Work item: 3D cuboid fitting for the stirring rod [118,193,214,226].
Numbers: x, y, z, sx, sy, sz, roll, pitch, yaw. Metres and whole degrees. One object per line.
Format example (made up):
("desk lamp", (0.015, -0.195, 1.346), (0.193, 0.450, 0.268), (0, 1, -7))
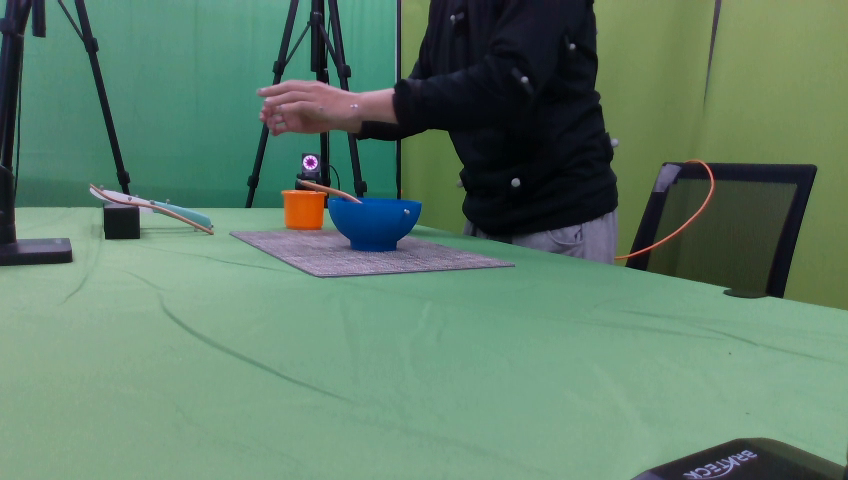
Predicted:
("stirring rod", (-0.484, -0.056, 1.143), (0.177, 0.006, 0.014), (21, -4, -29))

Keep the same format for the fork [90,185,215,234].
("fork", (-0.452, -0.049, 1.018), (0.208, 0.018, 0.028), (21, -6, -33))

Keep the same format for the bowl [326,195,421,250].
("bowl", (-0.080, -0.028, 0.957), (0.151, 0.077, 0.151), (2, 7, 0))

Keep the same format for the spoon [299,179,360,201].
("spoon", (-0.124, -0.067, 0.993), (0.193, 0.021, 0.042), (25, 10, 17))

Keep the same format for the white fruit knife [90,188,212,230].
("white fruit knife", (-0.478, -0.058, 1.074), (0.208, 0.027, 0.016), (17, -4, -30))
